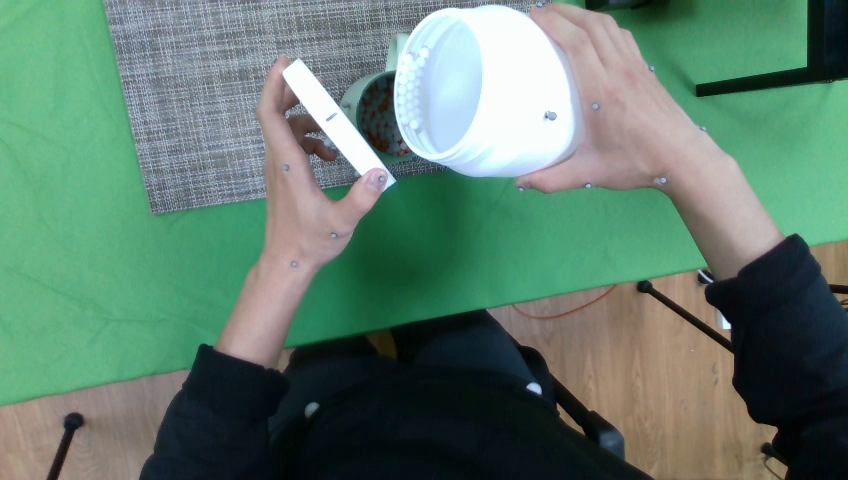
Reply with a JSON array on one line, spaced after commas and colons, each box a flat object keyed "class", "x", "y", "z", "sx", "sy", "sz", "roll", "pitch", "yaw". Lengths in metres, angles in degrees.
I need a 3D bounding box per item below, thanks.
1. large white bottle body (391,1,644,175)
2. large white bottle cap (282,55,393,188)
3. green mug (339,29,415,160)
[{"class": "large white bottle body", "x": 0.077, "y": -0.120, "z": 0.500, "sx": 0.186, "sy": 0.129, "sz": 0.131, "roll": -4, "pitch": 101, "yaw": -39}, {"class": "large white bottle cap", "x": -0.064, "y": -0.089, "z": 0.462, "sx": 0.018, "sy": 0.114, "sz": 0.115, "roll": -38, "pitch": 106, "yaw": 3}, {"class": "green mug", "x": -0.033, "y": -0.141, "z": 0.591, "sx": 0.093, "sy": 0.104, "sz": 0.125, "roll": 7, "pitch": 97, "yaw": -15}]
